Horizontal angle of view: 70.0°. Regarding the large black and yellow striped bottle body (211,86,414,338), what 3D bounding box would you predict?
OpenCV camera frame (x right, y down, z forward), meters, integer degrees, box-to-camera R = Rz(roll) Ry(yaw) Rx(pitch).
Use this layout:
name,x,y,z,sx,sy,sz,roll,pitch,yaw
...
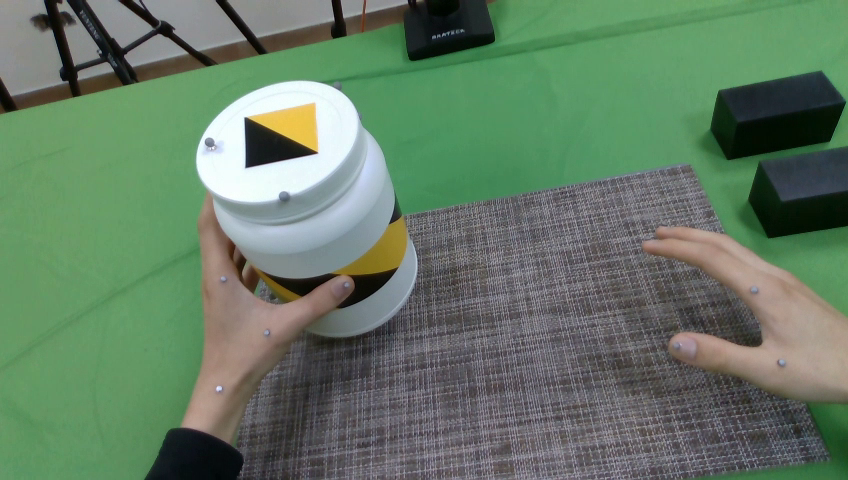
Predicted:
name,x,y,z,sx,sy,sz,roll,pitch,yaw
large black and yellow striped bottle body,-0.086,-0.017,0.486,0.130,0.186,0.129,-5,55,8

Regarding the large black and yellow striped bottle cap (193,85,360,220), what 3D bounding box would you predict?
name,x,y,z,sx,sy,sz,roll,pitch,yaw
large black and yellow striped bottle cap,-0.101,-0.064,0.418,0.115,0.019,0.114,-5,54,7
